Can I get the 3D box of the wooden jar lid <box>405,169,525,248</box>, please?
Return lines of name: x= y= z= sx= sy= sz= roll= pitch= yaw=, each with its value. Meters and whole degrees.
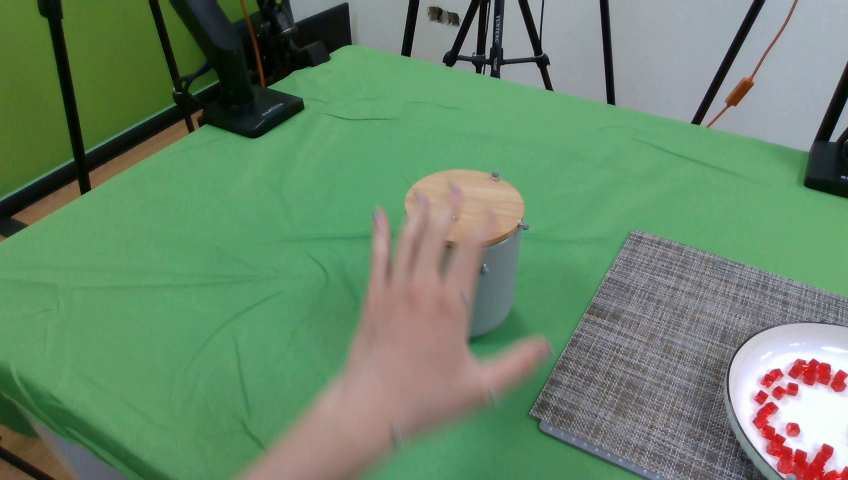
wooden jar lid: x=0.036 y=-0.027 z=0.547 sx=0.108 sy=0.021 sz=0.107 roll=2 pitch=41 yaw=-1

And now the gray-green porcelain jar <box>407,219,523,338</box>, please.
gray-green porcelain jar: x=0.038 y=0.024 z=0.588 sx=0.106 sy=0.127 sz=0.105 roll=0 pitch=40 yaw=0

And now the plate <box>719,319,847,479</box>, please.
plate: x=0.348 y=0.153 z=0.493 sx=0.208 sy=0.039 sz=0.205 roll=0 pitch=40 yaw=1
